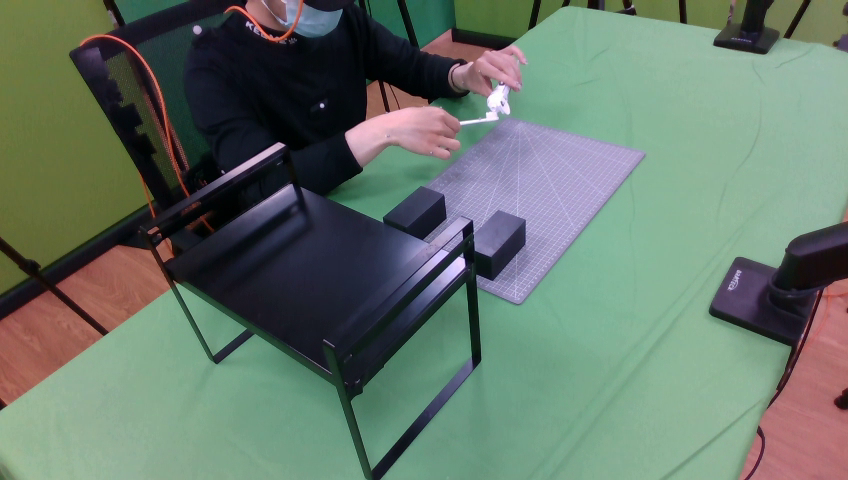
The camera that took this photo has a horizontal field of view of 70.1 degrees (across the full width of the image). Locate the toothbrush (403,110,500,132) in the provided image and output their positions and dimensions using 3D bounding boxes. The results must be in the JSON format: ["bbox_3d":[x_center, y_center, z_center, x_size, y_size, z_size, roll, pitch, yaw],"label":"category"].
[{"bbox_3d":[0.048,-0.216,1.107,0.181,0.017,0.014,-6,25,16],"label":"toothbrush"}]

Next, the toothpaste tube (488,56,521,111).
[{"bbox_3d":[0.152,-0.292,1.137,0.034,0.055,0.165,35,44,-11],"label":"toothpaste tube"}]

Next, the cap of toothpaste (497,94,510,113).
[{"bbox_3d":[0.140,-0.239,1.064,0.011,0.037,0.037,-21,33,29],"label":"cap of toothpaste"}]
